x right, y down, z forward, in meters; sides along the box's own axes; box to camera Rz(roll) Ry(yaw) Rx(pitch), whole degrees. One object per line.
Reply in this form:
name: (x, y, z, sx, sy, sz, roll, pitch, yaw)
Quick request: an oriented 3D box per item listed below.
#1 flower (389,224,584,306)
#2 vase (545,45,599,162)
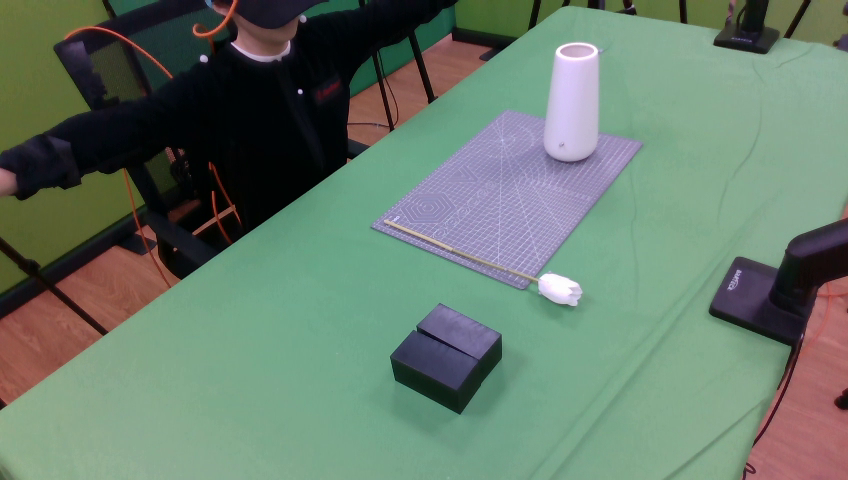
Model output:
flower: (0.078, 0.026, 0.938, 0.358, 0.038, 0.044, 21, 15, 35)
vase: (0.267, -0.238, 1.074, 0.098, 0.201, 0.097, -4, 42, 4)
